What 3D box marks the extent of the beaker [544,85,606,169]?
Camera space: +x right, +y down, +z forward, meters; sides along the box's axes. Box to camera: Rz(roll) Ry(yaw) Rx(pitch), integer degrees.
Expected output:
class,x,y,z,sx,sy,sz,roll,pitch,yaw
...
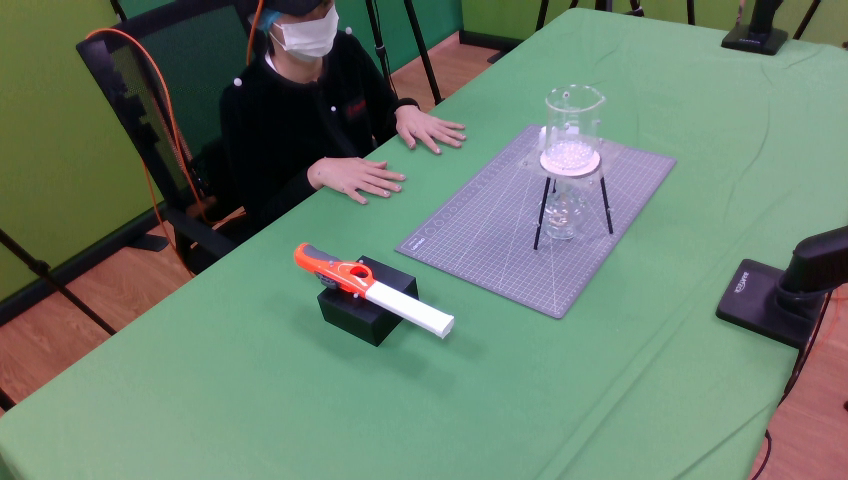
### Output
class,x,y,z,sx,sy,sz,roll,pitch,yaw
beaker,0.212,-0.158,0.861,0.084,0.101,0.073,-3,41,6

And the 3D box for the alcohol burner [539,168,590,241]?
class,x,y,z,sx,sy,sz,roll,pitch,yaw
alcohol burner,0.217,-0.059,0.935,0.078,0.119,0.077,-6,40,6

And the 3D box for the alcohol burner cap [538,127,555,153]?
class,x,y,z,sx,sy,sz,roll,pitch,yaw
alcohol burner cap,0.234,-0.191,1.147,0.034,0.048,0.033,-5,40,5

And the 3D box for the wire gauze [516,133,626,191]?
class,x,y,z,sx,sy,sz,roll,pitch,yaw
wire gauze,0.217,-0.122,0.893,0.124,0.011,0.122,20,47,32

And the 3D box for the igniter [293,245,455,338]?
class,x,y,z,sx,sy,sz,roll,pitch,yaw
igniter,-0.079,0.065,0.833,0.274,0.025,0.057,23,48,27

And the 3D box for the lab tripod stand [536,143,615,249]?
class,x,y,z,sx,sy,sz,roll,pitch,yaw
lab tripod stand,0.224,-0.069,0.931,0.148,0.132,0.147,-4,42,4
